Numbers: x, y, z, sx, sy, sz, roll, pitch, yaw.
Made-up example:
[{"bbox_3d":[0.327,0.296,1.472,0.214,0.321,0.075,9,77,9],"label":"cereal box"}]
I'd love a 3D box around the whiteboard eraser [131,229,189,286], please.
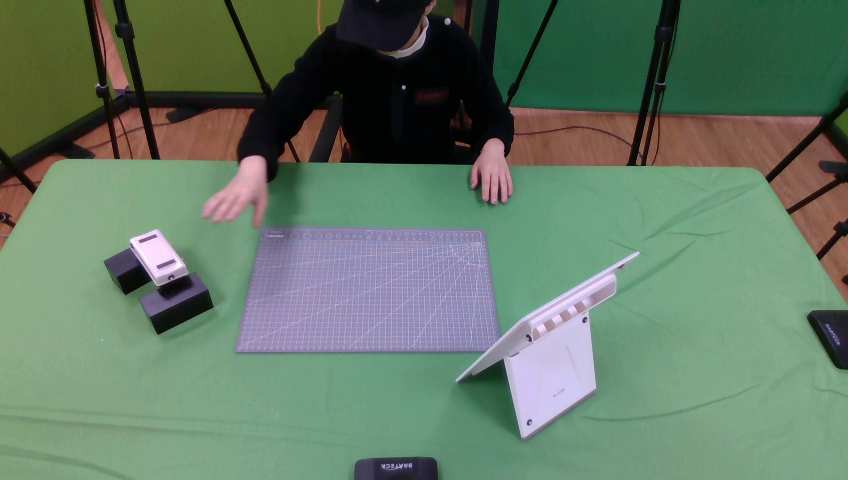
[{"bbox_3d":[-0.458,0.032,1.050,0.055,0.042,0.112,-29,57,-30],"label":"whiteboard eraser"}]

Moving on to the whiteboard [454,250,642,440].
[{"bbox_3d":[0.206,0.175,0.889,0.217,0.306,0.143,-24,72,-25],"label":"whiteboard"}]
